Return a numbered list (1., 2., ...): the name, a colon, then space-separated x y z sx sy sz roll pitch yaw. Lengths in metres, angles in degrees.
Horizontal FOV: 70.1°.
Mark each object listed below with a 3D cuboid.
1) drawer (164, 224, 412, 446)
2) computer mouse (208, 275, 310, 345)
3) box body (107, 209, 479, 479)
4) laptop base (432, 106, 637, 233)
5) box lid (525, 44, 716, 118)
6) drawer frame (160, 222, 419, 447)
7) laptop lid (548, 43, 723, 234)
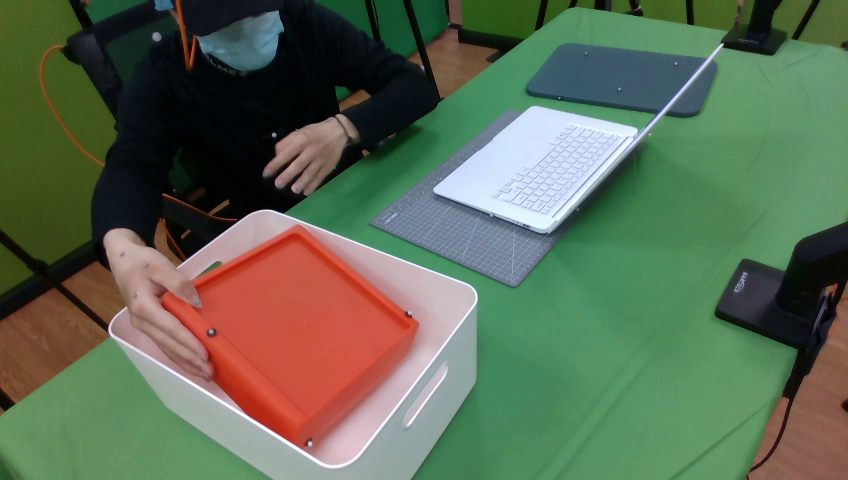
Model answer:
1. drawer: -0.154 0.099 0.707 0.210 0.073 0.195 38 43 17
2. computer mouse: -0.197 0.076 0.722 0.118 0.041 0.062 -29 40 -33
3. box body: -0.140 0.136 0.725 0.361 0.161 0.254 19 47 28
4. laptop base: 0.210 -0.142 1.111 0.233 0.023 0.355 21 48 33
5. box lid: 0.432 -0.360 1.341 0.369 0.015 0.263 16 45 24
6. drawer frame: -0.152 0.101 0.704 0.212 0.083 0.202 38 45 16
7. laptop lid: 0.336 -0.160 0.956 0.013 0.241 0.358 43 54 8
